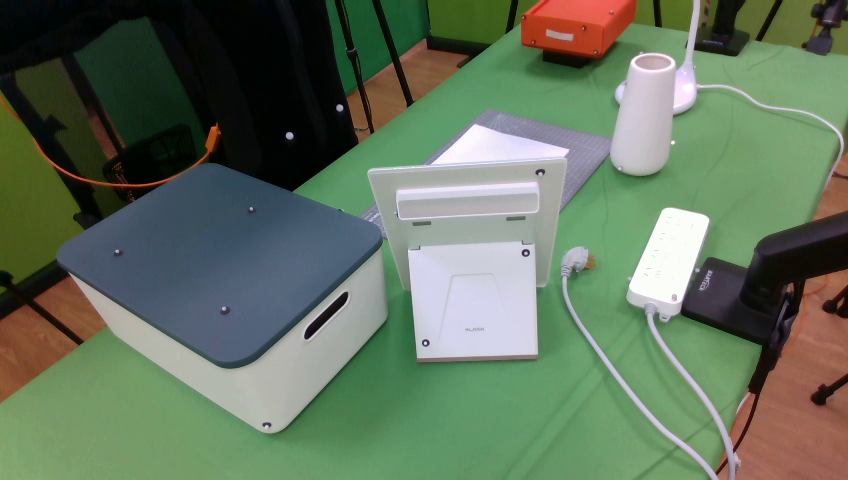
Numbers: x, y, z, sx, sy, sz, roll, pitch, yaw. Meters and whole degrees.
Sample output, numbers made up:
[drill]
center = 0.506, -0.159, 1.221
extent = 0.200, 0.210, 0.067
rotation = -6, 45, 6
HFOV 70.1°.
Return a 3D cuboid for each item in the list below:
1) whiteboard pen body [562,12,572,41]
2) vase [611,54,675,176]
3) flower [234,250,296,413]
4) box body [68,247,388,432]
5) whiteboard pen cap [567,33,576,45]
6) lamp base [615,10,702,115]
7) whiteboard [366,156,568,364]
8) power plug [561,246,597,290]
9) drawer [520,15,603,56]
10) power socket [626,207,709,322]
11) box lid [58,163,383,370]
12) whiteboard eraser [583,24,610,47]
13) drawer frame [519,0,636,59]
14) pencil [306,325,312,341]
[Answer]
[whiteboard pen body]
center = 0.339, -0.505, 1.431
extent = 0.017, 0.017, 0.140
rotation = 0, 44, 8
[vase]
center = 0.377, -0.209, 1.031
extent = 0.098, 0.201, 0.097
rotation = -3, 40, 3
[flower]
center = -0.244, 0.110, 0.870
extent = 0.044, 0.038, 0.358
rotation = 11, 25, -32
[box body]
center = -0.256, 0.066, 0.826
extent = 0.361, 0.161, 0.255
rotation = 20, 48, 29
[whiteboard pen cap]
center = 0.339, -0.463, 1.390
extent = 0.018, 0.018, 0.033
rotation = -2, 44, 5
[lamp base]
center = 0.484, -0.363, 1.211
extent = 0.180, 0.181, 0.159
rotation = -15, 41, -14
[whiteboard]
center = 0.059, 0.050, 0.738
extent = 0.217, 0.307, 0.143
rotation = -2, 60, 6
[power plug]
center = 0.228, 0.044, 0.897
extent = 0.053, 0.035, 0.072
rotation = 15, 82, -9
[drawer]
center = 0.359, -0.517, 1.416
extent = 0.193, 0.073, 0.212
rotation = 20, 47, 29
[power socket]
center = 0.360, 0.026, 0.886
extent = 0.072, 0.033, 0.227
rotation = 17, 46, 26
[box lid]
center = -0.262, 0.010, 0.777
extent = 0.369, 0.015, 0.264
rotation = 21, 47, 29
[whiteboard eraser]
center = 0.407, -0.479, 1.423
extent = 0.055, 0.042, 0.113
rotation = -2, 9, 21
[drawer frame]
center = 0.362, -0.518, 1.423
extent = 0.200, 0.083, 0.214
rotation = 19, 48, 29
[pencil]
center = -0.177, 0.100, 0.881
extent = 0.012, 0.012, 0.192
rotation = -16, 45, -11
